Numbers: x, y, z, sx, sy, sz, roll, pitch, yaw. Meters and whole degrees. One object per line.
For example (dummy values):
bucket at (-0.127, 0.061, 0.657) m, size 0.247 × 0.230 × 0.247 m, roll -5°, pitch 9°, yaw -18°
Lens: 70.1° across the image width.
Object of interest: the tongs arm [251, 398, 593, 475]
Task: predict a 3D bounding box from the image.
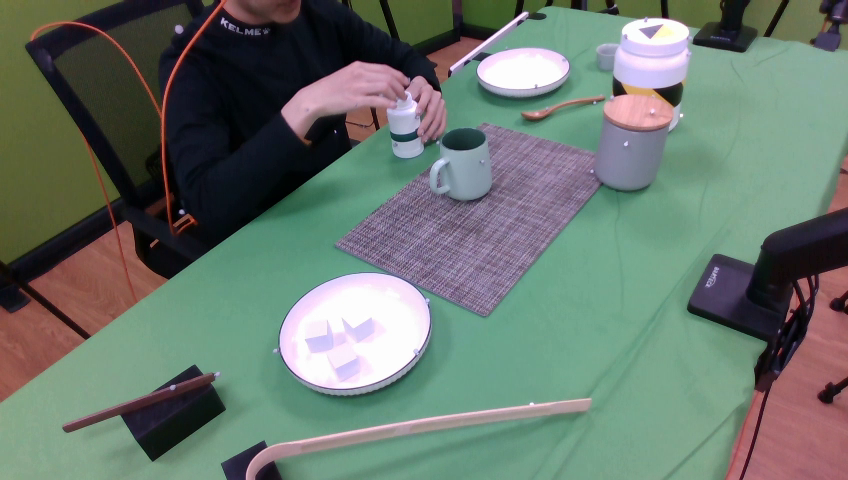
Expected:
tongs arm at (0.008, 0.212, 0.675) m, size 0.389 × 0.028 × 0.028 m, roll -5°, pitch 46°, yaw -11°

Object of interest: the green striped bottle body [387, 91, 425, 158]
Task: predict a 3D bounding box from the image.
green striped bottle body at (-0.036, -0.223, 1.160) m, size 0.063 × 0.120 × 0.063 m, roll -5°, pitch 39°, yaw 4°

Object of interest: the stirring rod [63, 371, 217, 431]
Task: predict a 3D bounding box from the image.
stirring rod at (-0.337, 0.192, 0.723) m, size 0.177 × 0.014 × 0.005 m, roll -18°, pitch 43°, yaw -12°

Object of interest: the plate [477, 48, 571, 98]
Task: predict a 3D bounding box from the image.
plate at (0.223, -0.371, 1.357) m, size 0.209 × 0.038 × 0.208 m, roll -4°, pitch 41°, yaw 4°

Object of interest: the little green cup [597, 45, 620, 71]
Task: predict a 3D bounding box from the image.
little green cup at (0.423, -0.413, 1.376) m, size 0.061 × 0.039 × 0.061 m, roll -4°, pitch 41°, yaw 4°

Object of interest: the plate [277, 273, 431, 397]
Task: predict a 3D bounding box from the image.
plate at (-0.091, 0.129, 0.821) m, size 0.207 × 0.039 × 0.206 m, roll -4°, pitch 40°, yaw 4°

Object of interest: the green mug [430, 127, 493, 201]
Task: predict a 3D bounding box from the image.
green mug at (0.060, -0.122, 1.034) m, size 0.126 × 0.105 × 0.091 m, roll -35°, pitch 48°, yaw -28°

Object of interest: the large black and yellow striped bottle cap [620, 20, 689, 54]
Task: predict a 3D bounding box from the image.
large black and yellow striped bottle cap at (0.411, -0.363, 1.080) m, size 0.115 × 0.019 × 0.114 m, roll -3°, pitch 42°, yaw 4°

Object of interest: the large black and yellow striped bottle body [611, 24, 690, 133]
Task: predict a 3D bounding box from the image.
large black and yellow striped bottle body at (0.420, -0.299, 1.132) m, size 0.131 × 0.185 × 0.130 m, roll -5°, pitch 40°, yaw 4°

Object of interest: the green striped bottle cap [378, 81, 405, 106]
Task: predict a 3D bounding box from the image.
green striped bottle cap at (-0.057, -0.253, 1.041) m, size 0.044 × 0.020 × 0.044 m, roll -12°, pitch 49°, yaw 15°

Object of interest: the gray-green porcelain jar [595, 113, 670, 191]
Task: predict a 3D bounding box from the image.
gray-green porcelain jar at (0.346, -0.155, 1.017) m, size 0.106 × 0.127 × 0.105 m, roll -2°, pitch 44°, yaw 2°

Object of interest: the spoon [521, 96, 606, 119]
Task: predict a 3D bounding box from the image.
spoon at (0.291, -0.277, 1.249) m, size 0.194 × 0.022 × 0.041 m, roll -17°, pitch 23°, yaw -11°

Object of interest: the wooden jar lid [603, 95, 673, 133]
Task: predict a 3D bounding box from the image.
wooden jar lid at (0.343, -0.200, 0.974) m, size 0.108 × 0.021 × 0.108 m, roll -2°, pitch 39°, yaw 2°

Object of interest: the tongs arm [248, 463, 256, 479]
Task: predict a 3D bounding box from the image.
tongs arm at (0.012, 0.262, 0.615) m, size 0.385 × 0.026 × 0.050 m, roll 2°, pitch 42°, yaw -2°
